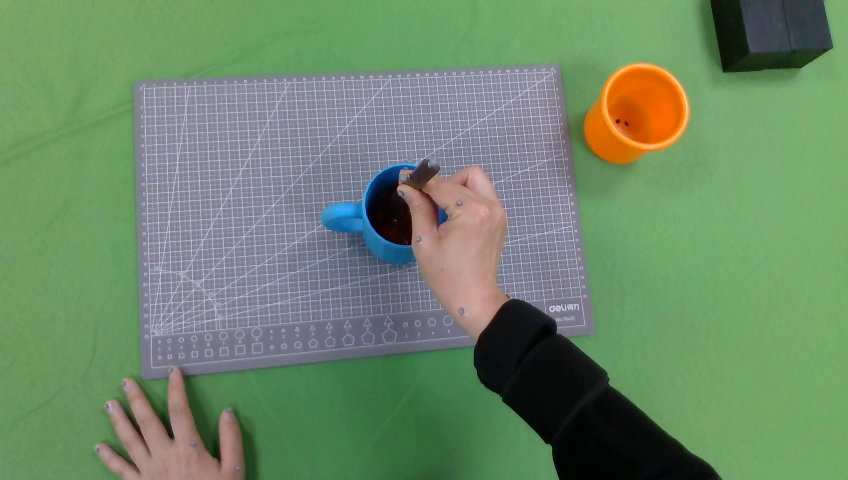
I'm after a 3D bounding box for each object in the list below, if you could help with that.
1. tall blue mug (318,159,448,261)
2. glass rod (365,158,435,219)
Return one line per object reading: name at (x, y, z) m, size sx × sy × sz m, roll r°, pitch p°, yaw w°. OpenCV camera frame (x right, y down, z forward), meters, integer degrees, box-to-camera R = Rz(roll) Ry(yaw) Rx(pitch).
tall blue mug at (-0.036, -0.018, 0.570) m, size 0.107 × 0.108 × 0.077 m, roll -28°, pitch 85°, yaw -10°
glass rod at (-0.026, -0.039, 0.510) m, size 0.008 × 0.199 × 0.008 m, roll 3°, pitch 80°, yaw -19°
